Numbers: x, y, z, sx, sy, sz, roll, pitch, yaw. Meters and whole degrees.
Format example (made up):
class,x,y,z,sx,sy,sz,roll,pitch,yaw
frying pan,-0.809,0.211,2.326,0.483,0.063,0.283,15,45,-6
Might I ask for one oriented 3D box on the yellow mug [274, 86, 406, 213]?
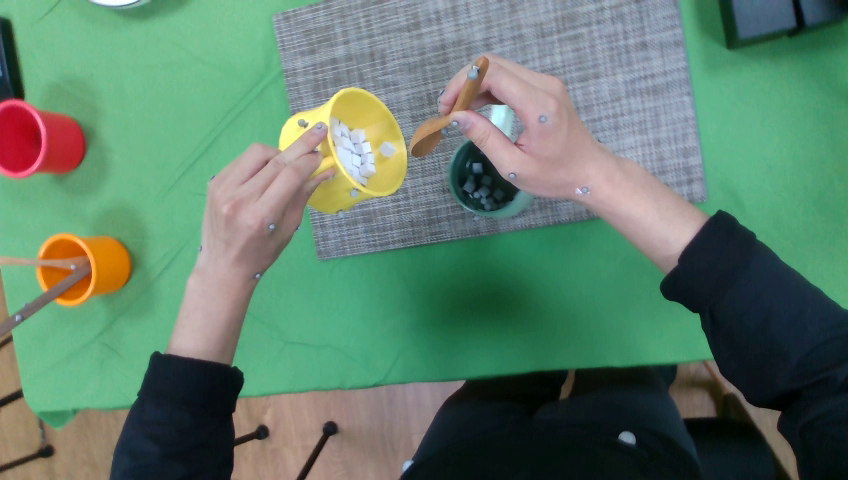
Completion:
class,x,y,z,sx,sy,sz,roll,pitch,yaw
yellow mug,-0.081,-0.074,0.542,0.064,0.130,0.100,-16,106,39

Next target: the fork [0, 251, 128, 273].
class,x,y,z,sx,sy,sz,roll,pitch,yaw
fork,-0.487,0.024,0.759,0.209,0.018,0.028,5,94,-31

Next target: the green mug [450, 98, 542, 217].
class,x,y,z,sx,sy,sz,roll,pitch,yaw
green mug,0.077,-0.086,0.636,0.092,0.105,0.125,9,97,13

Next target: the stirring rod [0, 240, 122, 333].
class,x,y,z,sx,sy,sz,roll,pitch,yaw
stirring rod,-0.459,0.057,0.761,0.014,0.006,0.176,43,61,5

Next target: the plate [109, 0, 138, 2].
class,x,y,z,sx,sy,sz,roll,pitch,yaw
plate,-0.368,-0.399,0.750,0.207,0.039,0.208,1,96,13

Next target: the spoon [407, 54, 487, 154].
class,x,y,z,sx,sy,sz,roll,pitch,yaw
spoon,0.018,-0.097,0.451,0.041,0.193,0.022,-38,95,-13
